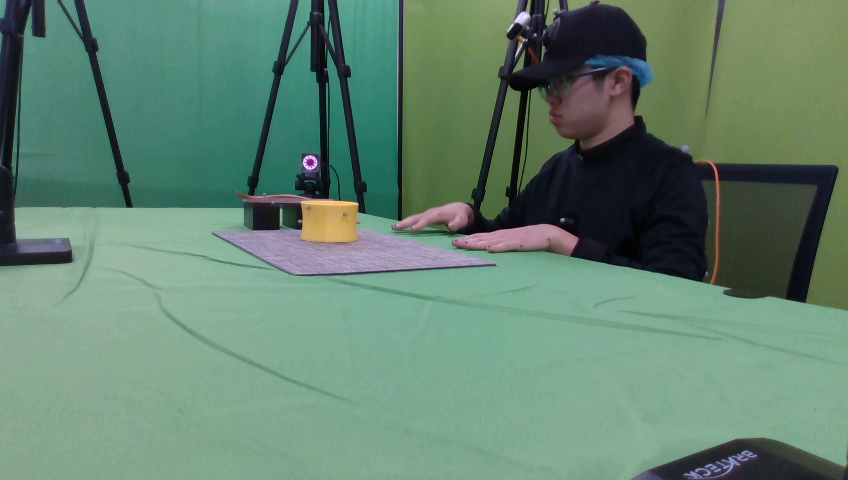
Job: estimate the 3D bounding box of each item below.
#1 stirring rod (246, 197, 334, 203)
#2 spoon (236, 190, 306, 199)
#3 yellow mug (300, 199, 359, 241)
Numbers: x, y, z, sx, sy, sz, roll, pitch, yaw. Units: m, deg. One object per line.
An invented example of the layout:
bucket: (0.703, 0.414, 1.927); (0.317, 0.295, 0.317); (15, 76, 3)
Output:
stirring rod: (-0.263, -0.079, 1.200); (0.177, 0.006, 0.014); (-2, 46, -29)
spoon: (-0.290, -0.088, 1.248); (0.195, 0.021, 0.041); (0, 5, -32)
yellow mug: (-0.157, -0.036, 1.060); (0.099, 0.064, 0.131); (6, 7, 27)
